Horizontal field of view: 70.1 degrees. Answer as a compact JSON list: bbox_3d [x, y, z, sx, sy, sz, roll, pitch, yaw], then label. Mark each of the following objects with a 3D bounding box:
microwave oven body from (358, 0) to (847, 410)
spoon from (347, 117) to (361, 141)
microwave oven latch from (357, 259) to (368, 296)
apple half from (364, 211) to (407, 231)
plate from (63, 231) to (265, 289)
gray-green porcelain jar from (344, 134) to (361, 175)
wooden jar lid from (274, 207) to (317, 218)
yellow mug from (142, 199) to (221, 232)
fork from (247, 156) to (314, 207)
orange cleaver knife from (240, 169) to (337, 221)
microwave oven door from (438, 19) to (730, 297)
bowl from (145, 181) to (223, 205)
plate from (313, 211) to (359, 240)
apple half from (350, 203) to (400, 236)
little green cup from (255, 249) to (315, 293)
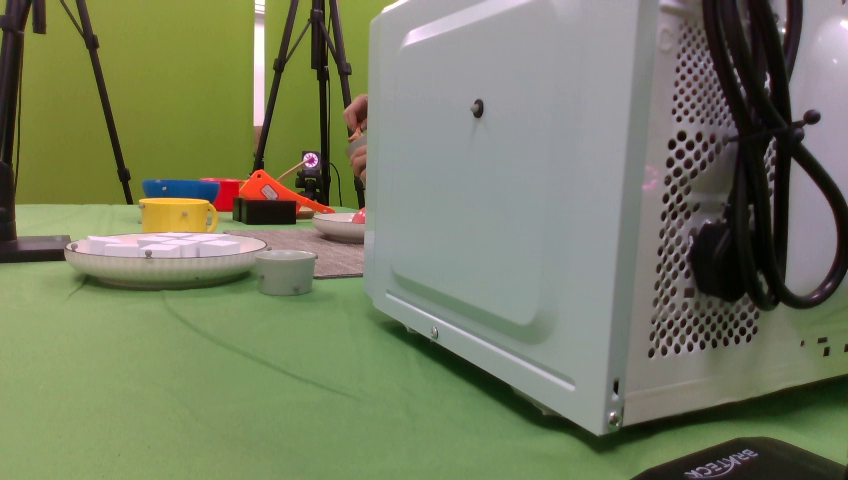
[{"bbox_3d":[0.210,-0.051,0.471,0.444,0.260,0.324,-1,7,-28],"label":"microwave oven body"},{"bbox_3d":[-0.143,-0.249,1.338,0.041,0.021,0.193,-9,28,3],"label":"spoon"},{"bbox_3d":[-0.019,0.031,0.528,0.079,0.029,0.030,-1,7,-25],"label":"microwave oven latch"},{"bbox_3d":[-0.068,-0.037,1.103,0.081,0.033,0.081,-1,10,1],"label":"apple half"},{"bbox_3d":[-0.288,0.021,0.687,0.208,0.039,0.207,2,8,0],"label":"plate"},{"bbox_3d":[-0.091,-0.164,1.267,0.106,0.126,0.106,-29,2,1],"label":"gray-green porcelain jar"},{"bbox_3d":[-0.303,-0.065,1.409,0.108,0.020,0.108,3,9,0],"label":"wooden jar lid"},{"bbox_3d":[-0.373,-0.030,0.948,0.099,0.064,0.131,6,7,30],"label":"yellow mug"},{"bbox_3d":[-0.360,-0.147,1.523,0.207,0.018,0.028,-43,15,-7],"label":"fork"},{"bbox_3d":[-0.287,-0.081,1.298,0.212,0.077,0.012,25,-3,-31],"label":"orange cleaver knife"},{"bbox_3d":[0.181,-0.076,0.618,0.358,0.243,0.039,-2,8,-28],"label":"microwave oven door"},{"bbox_3d":[-0.499,-0.081,1.261,0.151,0.077,0.151,2,8,0],"label":"bowl"},{"bbox_3d":[-0.091,-0.026,1.063,0.209,0.038,0.209,2,7,0],"label":"plate"},{"bbox_3d":[-0.081,-0.036,1.024,0.081,0.053,0.074,-2,11,-34],"label":"apple half"},{"bbox_3d":[-0.144,0.032,0.627,0.061,0.038,0.061,2,5,0],"label":"little green cup"}]
